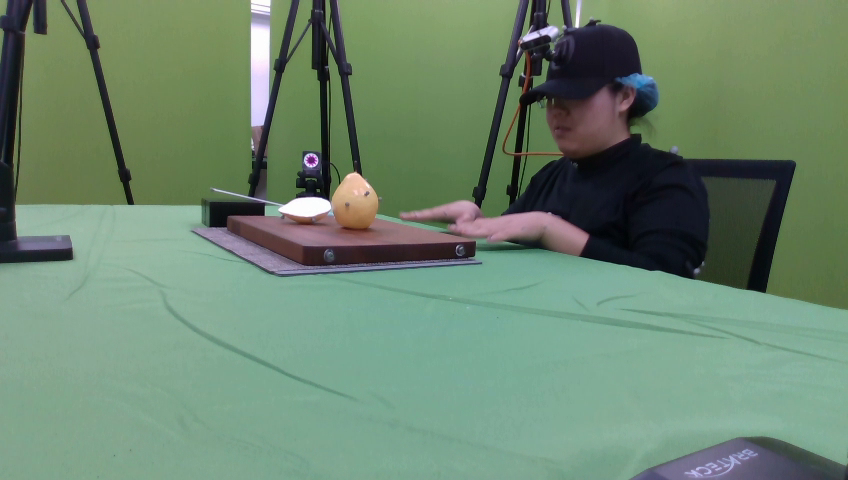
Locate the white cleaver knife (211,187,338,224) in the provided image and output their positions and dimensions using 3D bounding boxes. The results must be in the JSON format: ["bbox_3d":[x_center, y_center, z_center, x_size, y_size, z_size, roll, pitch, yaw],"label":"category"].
[{"bbox_3d":[-0.286,-0.073,1.222,0.288,0.021,0.065,15,3,-28],"label":"white cleaver knife"}]

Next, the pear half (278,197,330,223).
[{"bbox_3d":[-0.204,-0.047,1.033,0.088,0.031,0.070,-13,27,-17],"label":"pear half"}]

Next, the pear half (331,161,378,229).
[{"bbox_3d":[-0.105,-0.072,0.971,0.077,0.110,0.055,-9,14,-40],"label":"pear half"}]
